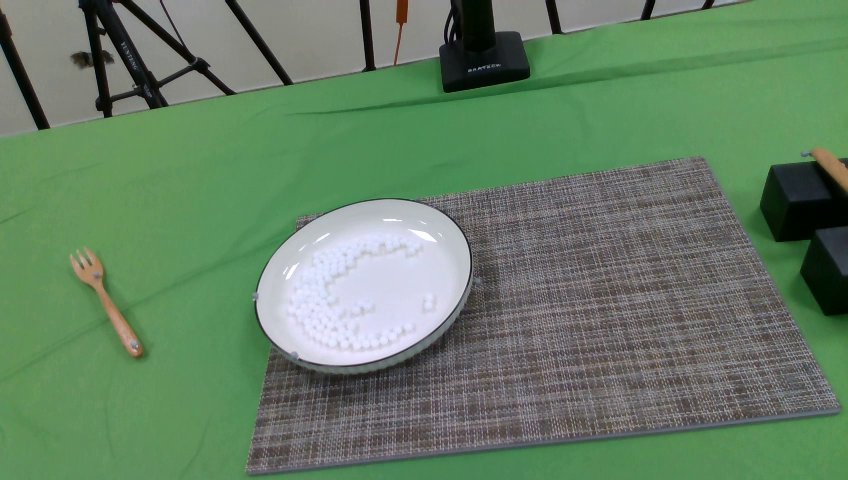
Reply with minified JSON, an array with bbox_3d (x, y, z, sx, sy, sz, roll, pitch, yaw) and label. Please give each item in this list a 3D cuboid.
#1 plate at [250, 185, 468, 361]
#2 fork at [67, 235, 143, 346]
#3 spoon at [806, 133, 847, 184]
[{"bbox_3d":[-0.059,0.030,0.578,0.207,0.039,0.205,-7,46,7],"label":"plate"},{"bbox_3d":[-0.340,0.051,0.645,0.028,0.019,0.205,-32,46,-25],"label":"fork"},{"bbox_3d":[0.353,-0.033,0.481,0.041,0.022,0.191,-25,41,22],"label":"spoon"}]
